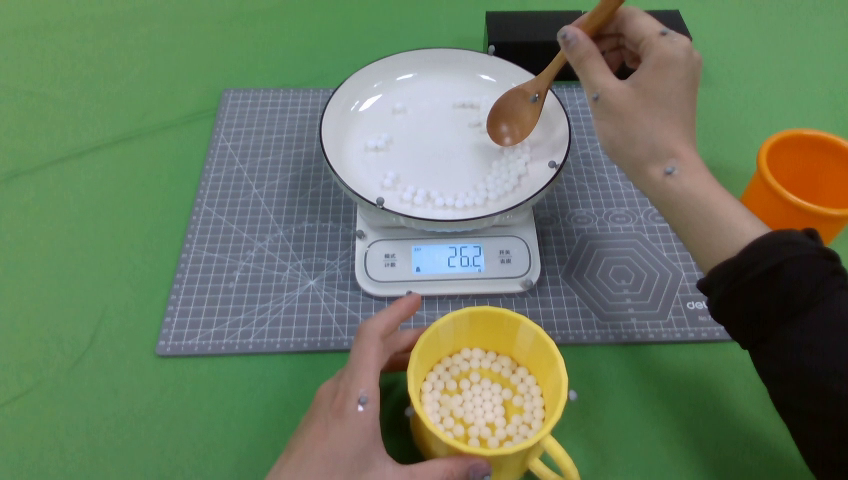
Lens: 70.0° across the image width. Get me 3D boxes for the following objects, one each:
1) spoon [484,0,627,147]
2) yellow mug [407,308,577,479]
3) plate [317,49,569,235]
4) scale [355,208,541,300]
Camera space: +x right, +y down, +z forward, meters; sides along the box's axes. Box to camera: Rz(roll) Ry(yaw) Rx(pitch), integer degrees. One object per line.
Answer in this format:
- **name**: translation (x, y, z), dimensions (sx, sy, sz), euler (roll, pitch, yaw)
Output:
- **spoon**: translation (0.102, -0.132, 0.443), dimensions (0.021, 0.194, 0.041), euler (-26, 78, -35)
- **yellow mug**: translation (0.050, 0.113, 0.394), dimensions (0.100, 0.064, 0.129), euler (-36, 63, -22)
- **plate**: translation (0.016, -0.084, 0.513), dimensions (0.209, 0.038, 0.207), euler (1, 54, -1)
- **scale**: translation (0.017, -0.041, 0.523), dimensions (0.149, 0.032, 0.199), euler (-2, 54, -1)
